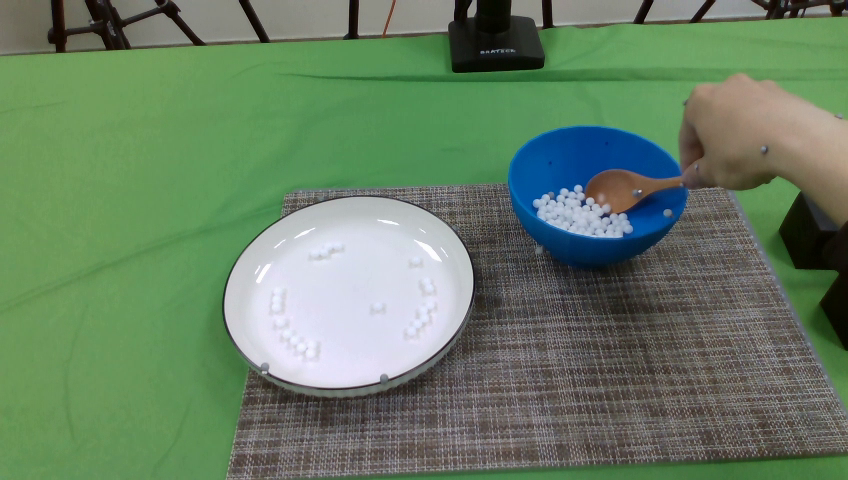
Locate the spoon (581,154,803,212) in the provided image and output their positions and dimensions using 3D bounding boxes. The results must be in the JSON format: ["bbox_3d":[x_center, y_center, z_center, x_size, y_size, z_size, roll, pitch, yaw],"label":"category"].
[{"bbox_3d":[0.205,-0.048,0.494,0.022,0.041,0.192,-6,2,-30],"label":"spoon"}]

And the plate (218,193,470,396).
[{"bbox_3d":[-0.065,0.044,0.514,0.207,0.039,0.205,-1,47,2],"label":"plate"}]

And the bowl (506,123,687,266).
[{"bbox_3d":[0.147,-0.029,0.544,0.151,0.077,0.150,-1,47,2],"label":"bowl"}]
